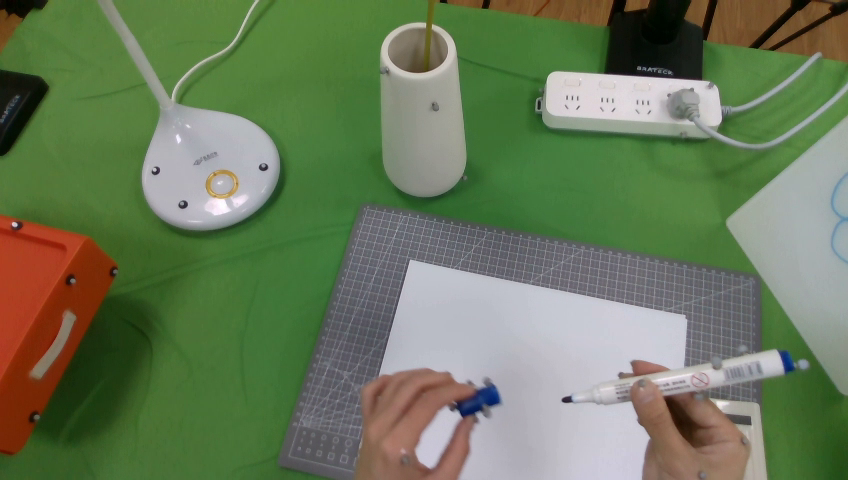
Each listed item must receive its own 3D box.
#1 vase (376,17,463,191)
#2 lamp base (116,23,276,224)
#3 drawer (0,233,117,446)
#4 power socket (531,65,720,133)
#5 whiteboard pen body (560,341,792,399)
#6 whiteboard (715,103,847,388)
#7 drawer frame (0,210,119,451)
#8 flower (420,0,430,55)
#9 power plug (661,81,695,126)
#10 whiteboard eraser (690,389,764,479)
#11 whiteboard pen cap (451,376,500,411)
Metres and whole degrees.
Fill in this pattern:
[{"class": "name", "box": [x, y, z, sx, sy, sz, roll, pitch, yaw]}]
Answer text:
[{"class": "vase", "box": [-0.007, -0.136, 0.642, 0.098, 0.201, 0.097, -1, 63, 2]}, {"class": "lamp base", "box": [-0.267, -0.132, 0.655, 0.160, 0.182, 0.178, -40, 67, -17]}, {"class": "drawer", "box": [-0.438, 0.067, 0.568, 0.211, 0.074, 0.193, 13, 66, 7]}, {"class": "power socket", "box": [0.248, -0.174, 0.747, 0.226, 0.033, 0.071, 5, 65, 3]}, {"class": "whiteboard pen body", "box": [0.155, 0.086, 0.386, 0.140, 0.017, 0.017, -17, 61, 20]}, {"class": "whiteboard", "box": [0.475, -0.031, 0.554, 0.144, 0.307, 0.215, -10, 62, -24]}, {"class": "drawer frame", "box": [-0.444, 0.068, 0.570, 0.213, 0.083, 0.200, 14, 66, 6]}, {"class": "flower", "box": [0.001, -0.188, 0.575, 0.038, 0.365, 0.043, 0, 46, -6]}, {"class": "power plug", "box": [0.295, -0.154, 0.710, 0.035, 0.053, 0.072, 15, 67, 9]}, {"class": "whiteboard eraser", "box": [0.278, 0.196, 0.557, 0.055, 0.042, 0.112, 6, 64, 2]}, {"class": "whiteboard pen cap", "box": [0.038, 0.112, 0.447, 0.033, 0.018, 0.018, -25, 64, 9]}]
